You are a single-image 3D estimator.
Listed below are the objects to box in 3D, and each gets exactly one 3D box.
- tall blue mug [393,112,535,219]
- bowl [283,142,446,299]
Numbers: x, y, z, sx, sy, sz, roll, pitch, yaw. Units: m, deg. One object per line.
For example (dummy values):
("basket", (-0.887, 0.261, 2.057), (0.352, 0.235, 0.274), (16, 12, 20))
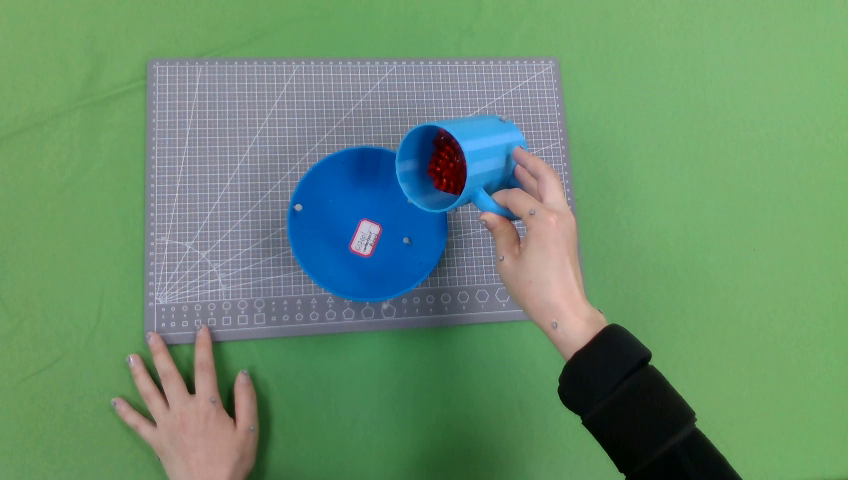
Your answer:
("tall blue mug", (0.047, -0.069, 0.537), (0.106, 0.108, 0.078), (19, 113, 31))
("bowl", (-0.058, -0.012, 0.597), (0.152, 0.077, 0.150), (2, 79, -8))
